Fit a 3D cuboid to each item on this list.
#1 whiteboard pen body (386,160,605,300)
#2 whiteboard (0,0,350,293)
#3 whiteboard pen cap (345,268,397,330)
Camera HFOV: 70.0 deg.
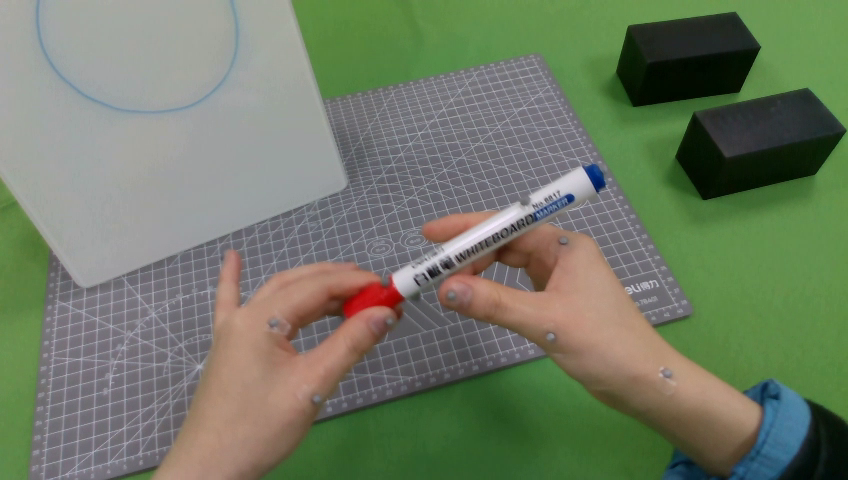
[{"bbox_3d":[0.024,0.002,0.300,0.140,0.017,0.016,-31,56,13],"label":"whiteboard pen body"},{"bbox_3d":[-0.211,-0.154,0.435,0.217,0.308,0.142,-23,38,-12],"label":"whiteboard"},{"bbox_3d":[-0.025,0.030,0.315,0.032,0.017,0.017,-44,60,7],"label":"whiteboard pen cap"}]
